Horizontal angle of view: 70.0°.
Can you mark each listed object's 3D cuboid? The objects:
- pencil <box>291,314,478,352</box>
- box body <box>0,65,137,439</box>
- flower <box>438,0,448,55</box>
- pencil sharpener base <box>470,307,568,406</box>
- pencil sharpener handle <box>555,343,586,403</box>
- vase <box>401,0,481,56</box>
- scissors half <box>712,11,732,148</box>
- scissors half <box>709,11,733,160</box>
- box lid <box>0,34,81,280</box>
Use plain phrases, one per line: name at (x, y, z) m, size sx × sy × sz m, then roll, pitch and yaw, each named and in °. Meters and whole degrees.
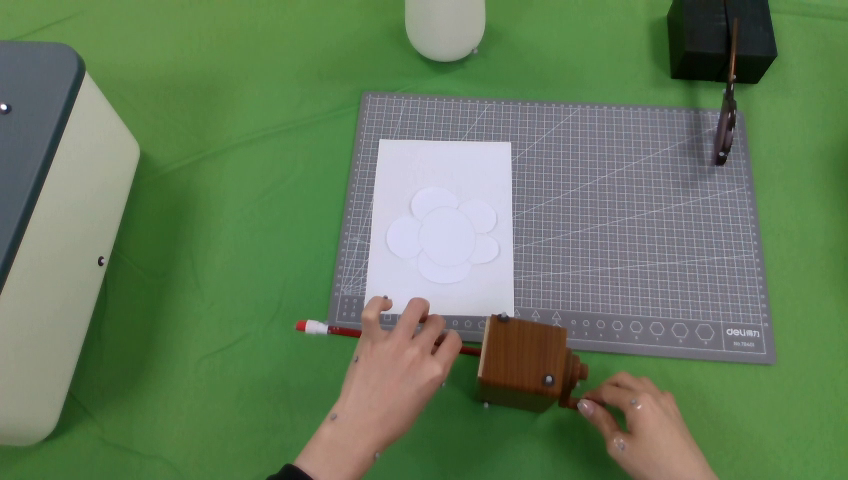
pencil at (-0.021, 0.084, 0.534) m, size 0.194 × 0.012 × 0.012 m, roll 9°, pitch 68°, yaw 3°
box body at (-0.463, -0.001, 0.584) m, size 0.254 × 0.161 × 0.361 m, roll 4°, pitch 68°, yaw 3°
flower at (0.008, -0.346, 0.602) m, size 0.044 × 0.365 × 0.038 m, roll -3°, pitch 49°, yaw 5°
pencil sharpener base at (0.085, 0.110, 0.553) m, size 0.076 × 0.108 × 0.061 m, roll 9°, pitch 68°, yaw 6°
pencil sharpener handle at (0.133, 0.119, 0.533) m, size 0.030 × 0.068 × 0.035 m, roll 9°, pitch 41°, yaw 6°
vase at (0.017, -0.301, 0.673) m, size 0.098 × 0.201 × 0.097 m, roll -1°, pitch 66°, yaw 3°
scissors half at (0.329, -0.179, 0.659) m, size 0.013 × 0.040 × 0.174 m, roll 9°, pitch 68°, yaw 15°
scissors half at (0.335, -0.174, 0.678) m, size 0.012 × 0.040 × 0.175 m, roll 8°, pitch 86°, yaw 20°
box lid at (-0.466, -0.033, 0.515) m, size 0.263 × 0.015 × 0.369 m, roll 4°, pitch 67°, yaw 3°
